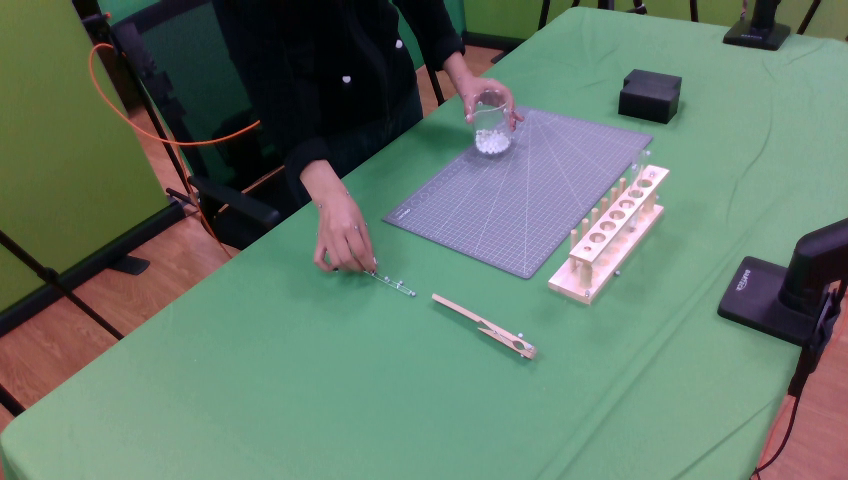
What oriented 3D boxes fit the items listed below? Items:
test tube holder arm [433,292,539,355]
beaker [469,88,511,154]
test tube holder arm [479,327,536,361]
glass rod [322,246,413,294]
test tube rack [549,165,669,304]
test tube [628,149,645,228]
[{"bbox_3d":[0.081,0.113,0.832,0.177,0.015,0.013,28,82,36],"label":"test tube holder arm"},{"bbox_3d":[0.122,-0.216,1.120,0.084,0.101,0.073,-37,46,-26],"label":"beaker"},{"bbox_3d":[0.110,0.134,0.805,0.087,0.015,0.010,29,83,36],"label":"test tube holder arm"},{"bbox_3d":[-0.093,0.045,0.956,0.198,0.008,0.008,24,51,33],"label":"glass rod"},{"bbox_3d":[0.279,-0.018,0.902,0.066,0.085,0.243,24,50,33],"label":"test tube rack"},{"bbox_3d":[0.309,-0.071,0.882,0.017,0.151,0.017,-7,46,8],"label":"test tube"}]
